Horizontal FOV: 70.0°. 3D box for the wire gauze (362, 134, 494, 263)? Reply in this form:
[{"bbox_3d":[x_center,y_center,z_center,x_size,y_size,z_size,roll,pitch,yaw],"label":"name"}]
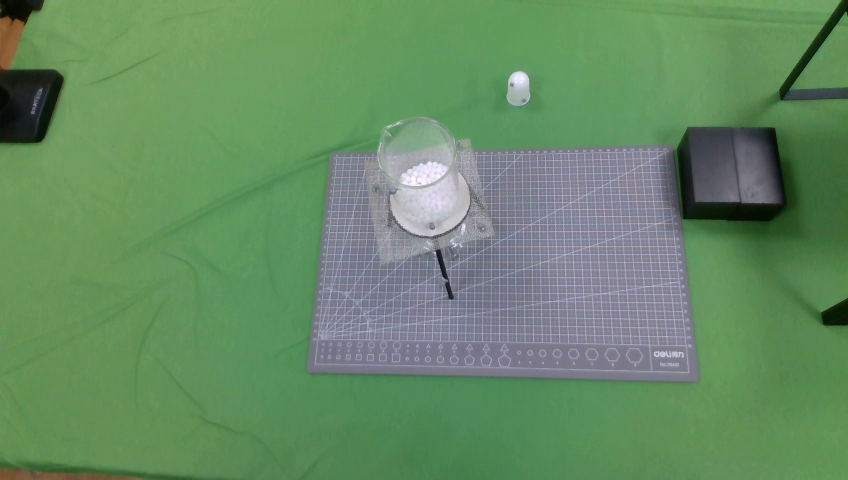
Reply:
[{"bbox_3d":[0.002,-0.048,0.641,0.121,0.011,0.124,-13,73,3],"label":"wire gauze"}]

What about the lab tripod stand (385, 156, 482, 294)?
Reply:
[{"bbox_3d":[0.013,-0.023,0.701,0.148,0.132,0.147,-1,70,4],"label":"lab tripod stand"}]

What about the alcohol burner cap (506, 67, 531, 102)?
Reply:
[{"bbox_3d":[0.126,-0.210,0.810,0.034,0.048,0.033,-3,70,8],"label":"alcohol burner cap"}]

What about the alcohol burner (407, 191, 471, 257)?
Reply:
[{"bbox_3d":[0.016,-0.024,0.712,0.078,0.120,0.077,-3,67,7],"label":"alcohol burner"}]

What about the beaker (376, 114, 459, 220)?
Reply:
[{"bbox_3d":[-0.004,-0.069,0.598,0.083,0.101,0.074,41,79,18],"label":"beaker"}]
